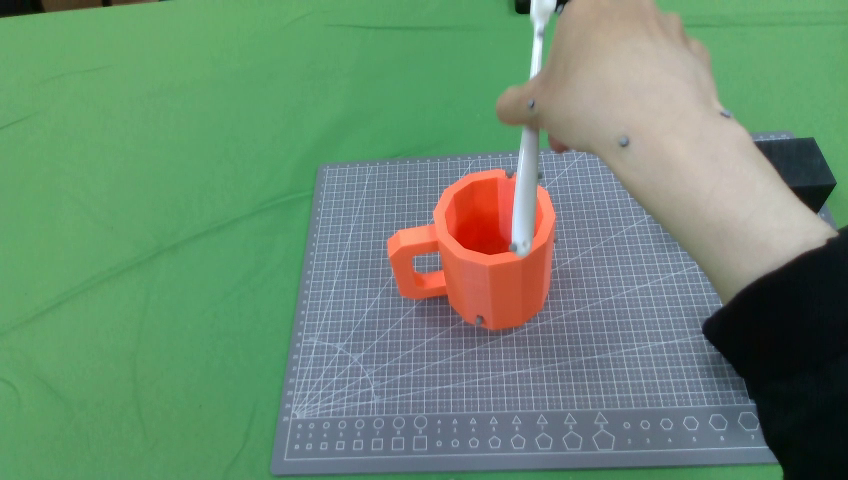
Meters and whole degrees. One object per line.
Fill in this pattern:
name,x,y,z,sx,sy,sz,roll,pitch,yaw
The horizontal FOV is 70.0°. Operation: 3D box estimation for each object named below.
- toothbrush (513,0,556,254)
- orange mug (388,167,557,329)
toothbrush,0.069,-0.080,0.370,0.014,0.016,0.181,13,77,-25
orange mug,0.038,0.011,0.463,0.126,0.102,0.082,-7,54,-2
